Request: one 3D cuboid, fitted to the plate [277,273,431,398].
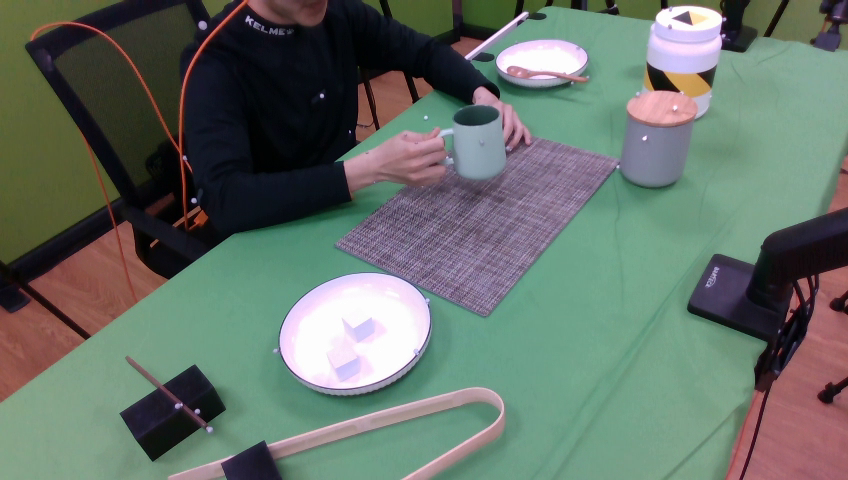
[{"bbox_3d":[-0.091,0.129,0.821,0.207,0.039,0.206,-4,40,4],"label":"plate"}]

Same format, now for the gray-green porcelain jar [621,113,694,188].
[{"bbox_3d":[0.390,-0.161,1.020,0.106,0.127,0.105,-4,41,4],"label":"gray-green porcelain jar"}]

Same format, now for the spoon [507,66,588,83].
[{"bbox_3d":[0.265,-0.357,1.311,0.192,0.022,0.042,18,47,38],"label":"spoon"}]

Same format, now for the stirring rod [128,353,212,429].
[{"bbox_3d":[-0.311,0.180,0.732,0.175,0.014,0.006,25,54,31],"label":"stirring rod"}]

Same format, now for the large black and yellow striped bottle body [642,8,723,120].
[{"bbox_3d":[0.493,-0.334,1.161,0.131,0.185,0.130,-4,41,4],"label":"large black and yellow striped bottle body"}]

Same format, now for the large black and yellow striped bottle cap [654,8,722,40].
[{"bbox_3d":[0.483,-0.397,1.108,0.115,0.019,0.114,-3,41,3],"label":"large black and yellow striped bottle cap"}]

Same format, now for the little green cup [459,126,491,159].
[{"bbox_3d":[0.097,-0.185,1.150,0.061,0.039,0.061,-3,47,4],"label":"little green cup"}]

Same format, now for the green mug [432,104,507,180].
[{"bbox_3d":[0.074,-0.158,1.006,0.125,0.105,0.092,-12,38,-4],"label":"green mug"}]

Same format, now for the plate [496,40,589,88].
[{"bbox_3d":[0.269,-0.398,1.381,0.209,0.038,0.208,-4,41,4],"label":"plate"}]

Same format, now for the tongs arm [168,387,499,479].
[{"bbox_3d":[-0.100,0.230,0.711,0.388,0.028,0.028,-13,32,-7],"label":"tongs arm"}]

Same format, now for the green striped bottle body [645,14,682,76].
[{"bbox_3d":[0.520,-0.424,1.312,0.063,0.120,0.063,-4,40,4],"label":"green striped bottle body"}]

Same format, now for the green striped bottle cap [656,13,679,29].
[{"bbox_3d":[0.515,-0.463,1.278,0.044,0.020,0.044,-6,42,6],"label":"green striped bottle cap"}]

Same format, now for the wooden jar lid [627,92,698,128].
[{"bbox_3d":[0.384,-0.207,0.980,0.108,0.021,0.108,-6,39,5],"label":"wooden jar lid"}]

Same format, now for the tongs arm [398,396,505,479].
[{"bbox_3d":[-0.071,0.272,0.652,0.386,0.026,0.050,-21,37,-17],"label":"tongs arm"}]
